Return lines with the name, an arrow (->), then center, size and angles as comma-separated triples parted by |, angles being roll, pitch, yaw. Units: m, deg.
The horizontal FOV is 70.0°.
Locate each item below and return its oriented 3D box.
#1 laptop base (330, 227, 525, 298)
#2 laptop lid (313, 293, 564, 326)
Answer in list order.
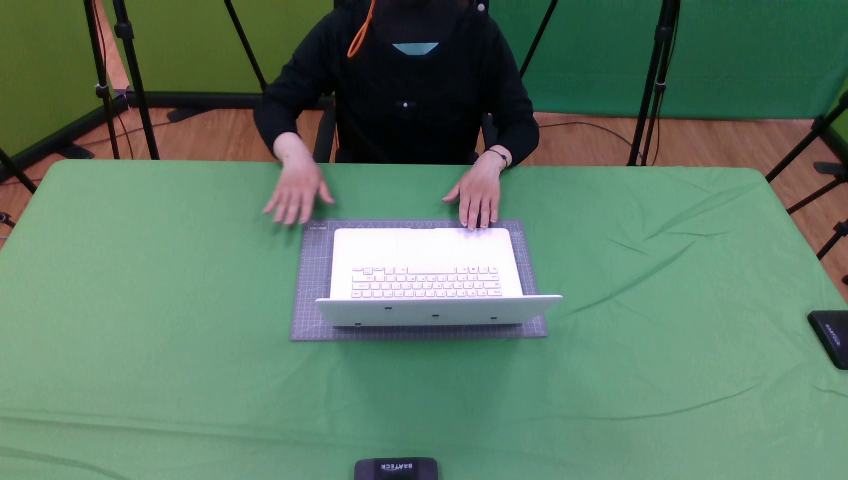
laptop base -> 0.005, 0.061, 1.137 | 0.355, 0.023, 0.234 | -1, 43, -4
laptop lid -> 0.017, 0.112, 0.945 | 0.357, 0.242, 0.013 | 0, 74, -5
